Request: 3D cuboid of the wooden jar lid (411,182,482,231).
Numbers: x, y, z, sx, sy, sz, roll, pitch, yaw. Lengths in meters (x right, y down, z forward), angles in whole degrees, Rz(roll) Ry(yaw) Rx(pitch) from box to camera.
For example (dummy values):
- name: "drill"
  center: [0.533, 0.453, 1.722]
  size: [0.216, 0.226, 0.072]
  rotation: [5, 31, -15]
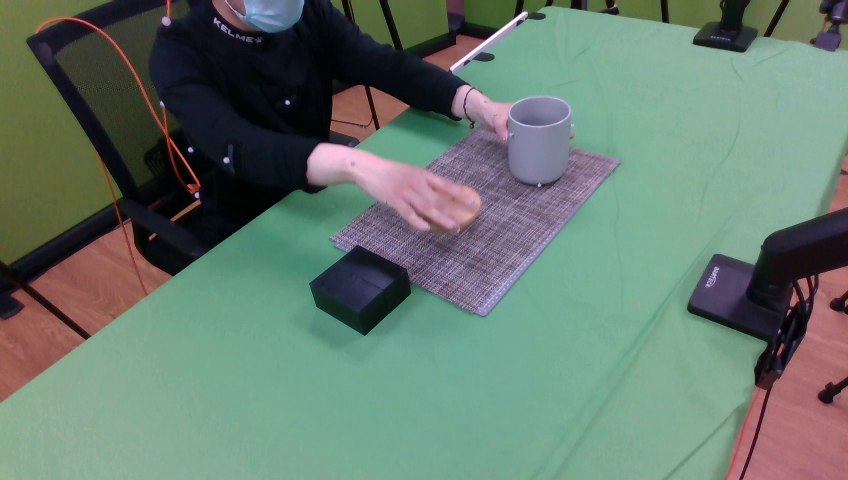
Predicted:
- name: "wooden jar lid"
  center: [0.035, -0.050, 0.919]
  size: [0.108, 0.021, 0.108]
  rotation: [-7, 40, 7]

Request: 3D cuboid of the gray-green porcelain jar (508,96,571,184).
- name: "gray-green porcelain jar"
  center: [0.199, -0.169, 1.051]
  size: [0.106, 0.127, 0.105]
  rotation: [-4, 41, 4]
